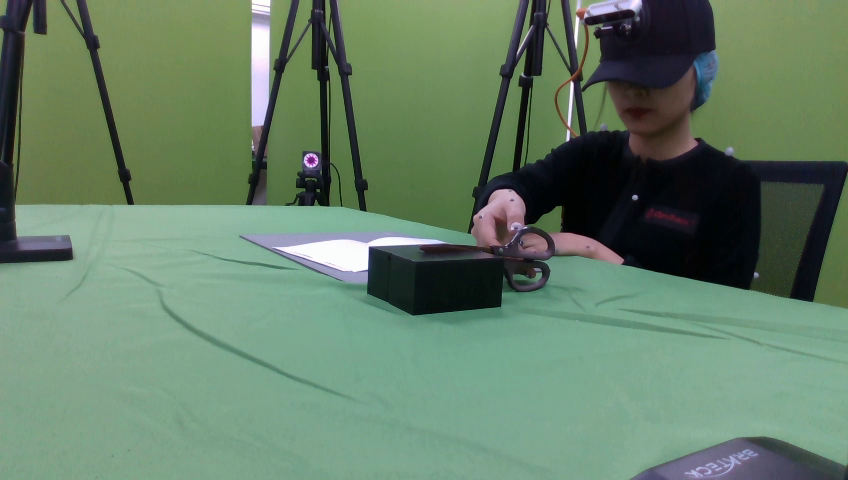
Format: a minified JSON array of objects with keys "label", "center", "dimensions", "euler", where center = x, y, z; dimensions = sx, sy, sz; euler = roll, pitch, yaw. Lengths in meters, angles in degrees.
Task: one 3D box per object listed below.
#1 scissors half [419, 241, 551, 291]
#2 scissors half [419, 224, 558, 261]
[{"label":"scissors half","center":[0.068,0.024,0.644],"dimensions":[0.176,0.040,0.012],"euler":[17,5,-31]},{"label":"scissors half","center":[0.072,0.004,0.642],"dimensions":[0.176,0.040,0.013],"euler":[-3,10,-29]}]
